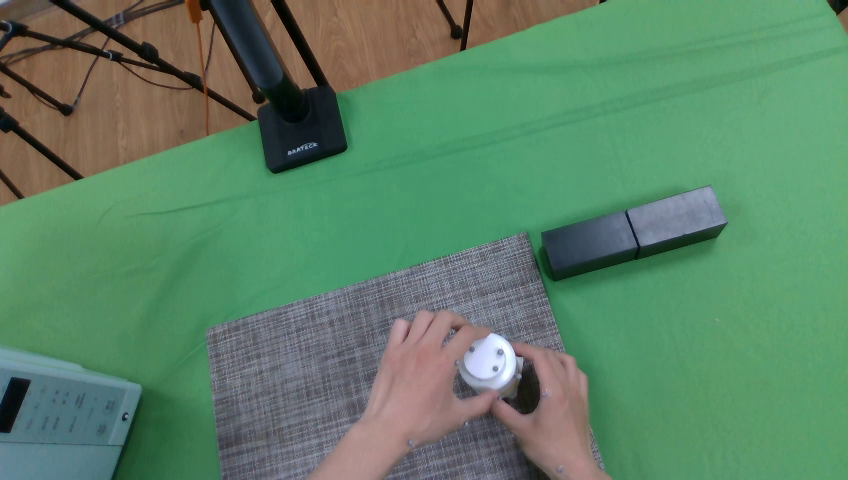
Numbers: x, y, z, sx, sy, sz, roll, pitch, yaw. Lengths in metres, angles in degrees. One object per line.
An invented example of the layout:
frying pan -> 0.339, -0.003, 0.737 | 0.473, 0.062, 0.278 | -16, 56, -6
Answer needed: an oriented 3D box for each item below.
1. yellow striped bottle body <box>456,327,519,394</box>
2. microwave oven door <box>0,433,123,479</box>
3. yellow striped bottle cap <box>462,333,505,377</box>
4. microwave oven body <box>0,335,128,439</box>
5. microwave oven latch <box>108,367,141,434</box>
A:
yellow striped bottle body -> 0.071, 0.134, 0.675 | 0.062, 0.121, 0.062 | -4, 70, 11
microwave oven door -> -0.464, 0.377, 0.623 | 0.039, 0.246, 0.354 | 10, 74, 15
yellow striped bottle cap -> 0.061, 0.118, 0.626 | 0.044, 0.019, 0.044 | -4, 67, 9
microwave oven body -> -0.593, 0.316, 0.675 | 0.325, 0.262, 0.439 | 10, 75, 14
microwave oven latch -> -0.391, 0.206, 0.775 | 0.030, 0.030, 0.079 | 12, 75, 15
